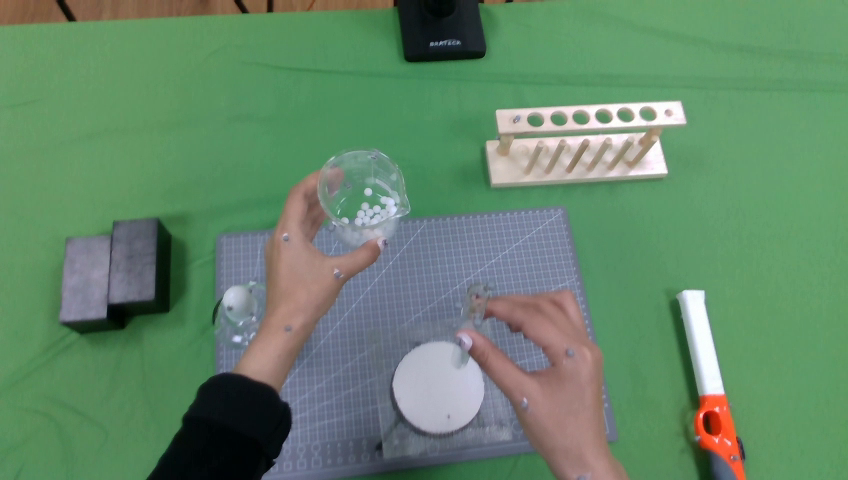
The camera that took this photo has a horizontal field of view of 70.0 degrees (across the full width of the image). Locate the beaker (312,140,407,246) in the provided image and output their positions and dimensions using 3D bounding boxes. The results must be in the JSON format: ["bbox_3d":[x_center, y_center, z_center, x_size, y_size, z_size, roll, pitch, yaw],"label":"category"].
[{"bbox_3d":[-0.056,-0.037,0.559,0.084,0.100,0.073,23,76,1],"label":"beaker"}]

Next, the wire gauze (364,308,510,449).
[{"bbox_3d":[0.011,0.129,0.577,0.125,0.011,0.120,-6,68,-8],"label":"wire gauze"}]

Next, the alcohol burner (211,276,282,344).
[{"bbox_3d":[-0.197,0.071,0.664,0.078,0.120,0.077,1,67,-3],"label":"alcohol burner"}]

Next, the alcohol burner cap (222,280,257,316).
[{"bbox_3d":[-0.193,0.059,0.631,0.034,0.048,0.033,3,70,-7],"label":"alcohol burner cap"}]

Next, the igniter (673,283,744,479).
[{"bbox_3d":[0.337,0.185,0.716,0.057,0.025,0.274,2,69,-14],"label":"igniter"}]

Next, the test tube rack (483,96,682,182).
[{"bbox_3d":[0.206,-0.132,0.796,0.243,0.085,0.066,-4,69,-6],"label":"test tube rack"}]

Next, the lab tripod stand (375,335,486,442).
[{"bbox_3d":[0.005,0.157,0.638,0.148,0.132,0.147,1,68,-2],"label":"lab tripod stand"}]

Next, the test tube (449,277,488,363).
[{"bbox_3d":[0.031,0.065,0.452,0.017,0.151,0.017,1,62,-2],"label":"test tube"}]
